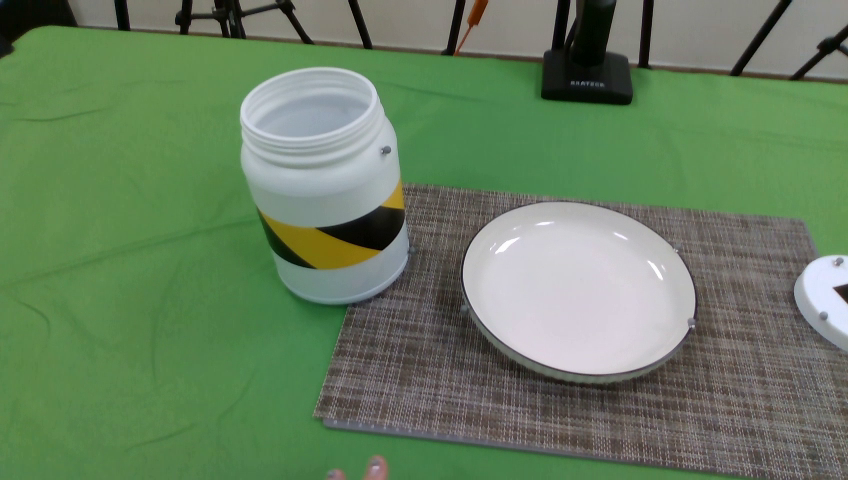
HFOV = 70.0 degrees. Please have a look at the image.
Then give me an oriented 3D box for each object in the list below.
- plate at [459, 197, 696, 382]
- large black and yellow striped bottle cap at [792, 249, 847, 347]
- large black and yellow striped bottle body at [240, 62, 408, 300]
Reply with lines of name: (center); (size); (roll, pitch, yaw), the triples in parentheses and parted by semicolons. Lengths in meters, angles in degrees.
plate: (0.135, 0.042, 0.552); (0.208, 0.039, 0.205); (0, 46, 0)
large black and yellow striped bottle cap: (0.401, 0.055, 0.555); (0.115, 0.019, 0.114); (2, 47, -2)
large black and yellow striped bottle body: (-0.085, -0.049, 0.541); (0.131, 0.186, 0.129); (-2, 45, 3)
